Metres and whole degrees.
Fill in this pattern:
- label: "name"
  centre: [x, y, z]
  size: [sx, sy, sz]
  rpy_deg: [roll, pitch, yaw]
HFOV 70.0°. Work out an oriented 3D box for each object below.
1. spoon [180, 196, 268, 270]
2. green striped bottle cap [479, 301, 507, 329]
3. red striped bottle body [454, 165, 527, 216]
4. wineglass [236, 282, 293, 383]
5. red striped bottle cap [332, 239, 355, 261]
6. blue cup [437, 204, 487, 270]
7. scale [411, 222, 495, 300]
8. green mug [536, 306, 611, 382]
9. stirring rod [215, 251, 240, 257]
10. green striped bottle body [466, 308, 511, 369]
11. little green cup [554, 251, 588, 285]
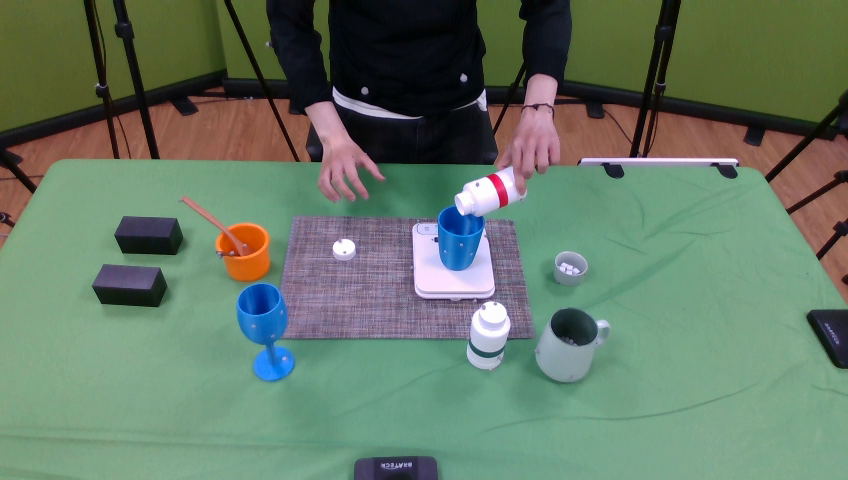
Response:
- label: "spoon"
  centre: [-0.360, -0.014, 1.094]
  size: [0.021, 0.194, 0.041]
  rpy_deg: [-28, 26, 31]
- label: "green striped bottle cap"
  centre: [0.109, 0.118, 0.950]
  size: [0.044, 0.020, 0.044]
  rpy_deg: [2, 47, -2]
- label: "red striped bottle body"
  centre: [0.114, -0.083, 1.062]
  size: [0.120, 0.063, 0.062]
  rpy_deg: [-23, 51, -13]
- label: "wineglass"
  centre: [-0.243, 0.143, 0.934]
  size: [0.074, 0.173, 0.073]
  rpy_deg: [2, 46, -2]
- label: "red striped bottle cap"
  centre: [-0.155, 0.018, 1.166]
  size: [0.044, 0.018, 0.044]
  rpy_deg: [-1, 48, 1]
- label: "blue cup"
  centre: [0.063, 0.001, 1.098]
  size: [0.093, 0.101, 0.092]
  rpy_deg: [2, 43, -2]
- label: "scale"
  centre: [0.052, 0.031, 1.158]
  size: [0.149, 0.032, 0.199]
  rpy_deg: [1, 46, -4]
- label: "green mug"
  centre: [0.250, 0.167, 0.996]
  size: [0.125, 0.105, 0.092]
  rpy_deg: [-15, 48, -19]
- label: "stirring rod"
  centre: [-0.339, 0.024, 1.059]
  size: [0.014, 0.176, 0.006]
  rpy_deg: [16, 86, -6]
- label: "green striped bottle body"
  centre: [0.106, 0.153, 0.988]
  size: [0.063, 0.120, 0.063]
  rpy_deg: [2, 46, -2]
- label: "little green cup"
  centre: [0.276, 0.055, 1.151]
  size: [0.061, 0.039, 0.061]
  rpy_deg: [1, 46, -1]
